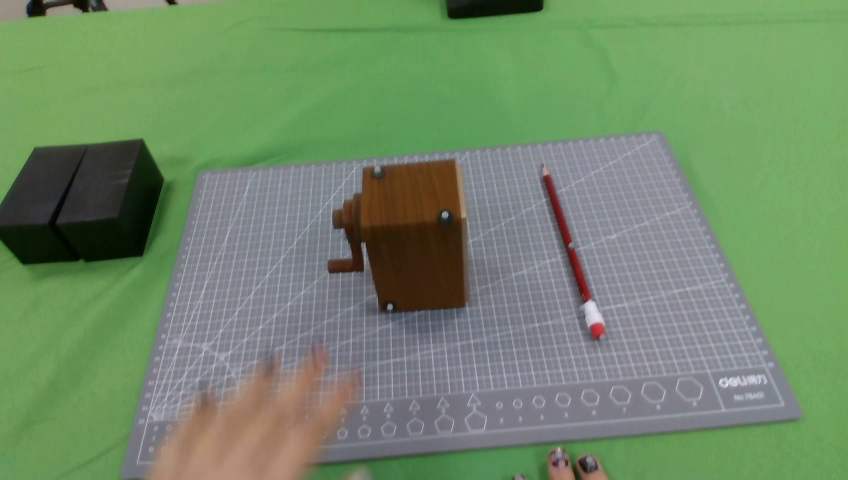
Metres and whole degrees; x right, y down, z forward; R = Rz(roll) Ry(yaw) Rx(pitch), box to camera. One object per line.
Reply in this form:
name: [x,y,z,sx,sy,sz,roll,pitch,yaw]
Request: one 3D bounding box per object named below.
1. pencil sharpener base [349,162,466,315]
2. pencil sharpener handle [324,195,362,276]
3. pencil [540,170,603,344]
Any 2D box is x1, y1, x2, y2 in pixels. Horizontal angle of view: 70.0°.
pencil sharpener base: [-0.010,0.002,0.445,0.077,0.108,0.060,-5,49,1]
pencil sharpener handle: [-0.061,0.000,0.435,0.030,0.068,0.035,-5,39,1]
pencil: [0.117,0.004,0.501,0.012,0.012,0.192,-5,47,-1]
